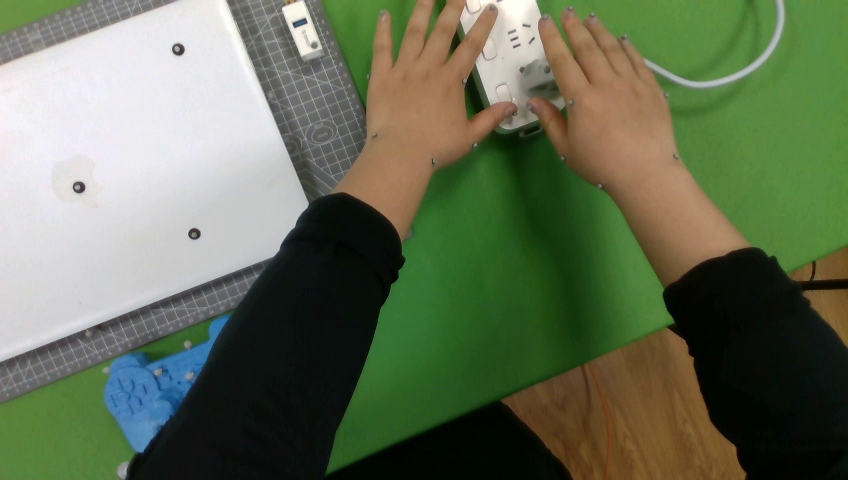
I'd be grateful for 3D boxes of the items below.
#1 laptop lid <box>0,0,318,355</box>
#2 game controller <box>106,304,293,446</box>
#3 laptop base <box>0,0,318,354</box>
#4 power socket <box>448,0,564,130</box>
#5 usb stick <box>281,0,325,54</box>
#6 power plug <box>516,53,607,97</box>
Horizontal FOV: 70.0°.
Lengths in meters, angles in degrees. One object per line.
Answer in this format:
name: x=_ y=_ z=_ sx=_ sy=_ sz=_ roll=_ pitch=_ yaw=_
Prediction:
laptop lid: x=-0.297 y=-0.052 z=0.528 sx=0.357 sy=0.013 sz=0.242 roll=-20 pitch=98 yaw=-2
game controller: x=-0.207 y=0.122 z=0.549 sx=0.155 sy=0.051 sz=0.097 roll=-21 pitch=91 yaw=-2
laptop base: x=-0.299 y=-0.055 z=0.540 sx=0.354 sy=0.023 sz=0.236 roll=-22 pitch=99 yaw=-2
power socket: x=0.062 y=-0.211 z=0.545 sx=0.072 sy=0.032 sz=0.227 roll=-20 pitch=96 yaw=-1
usb stick: x=-0.109 y=-0.198 z=0.534 sx=0.021 sy=0.027 sz=0.059 roll=-22 pitch=94 yaw=0
power plug: x=0.117 y=-0.142 z=0.535 sx=0.073 sy=0.052 sz=0.035 roll=8 pitch=82 yaw=-10
